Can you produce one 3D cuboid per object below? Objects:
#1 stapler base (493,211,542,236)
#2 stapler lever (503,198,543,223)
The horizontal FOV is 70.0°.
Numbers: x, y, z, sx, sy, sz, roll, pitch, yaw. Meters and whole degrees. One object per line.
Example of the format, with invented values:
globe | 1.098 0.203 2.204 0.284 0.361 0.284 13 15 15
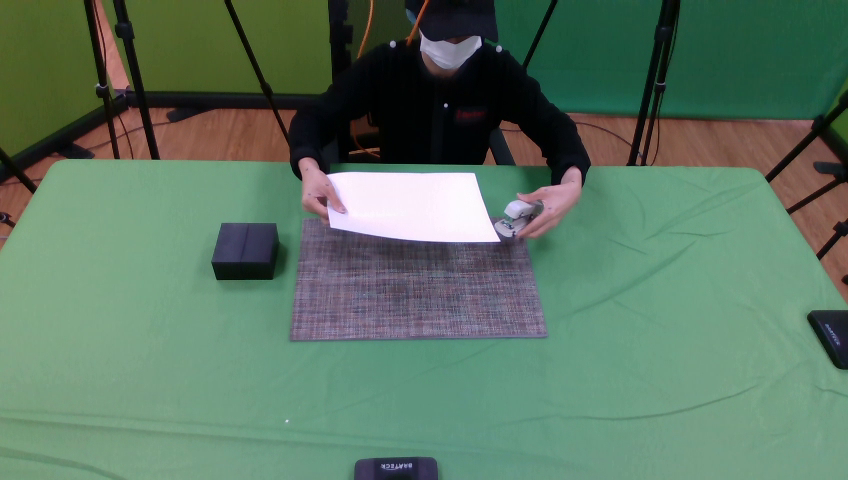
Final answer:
stapler base | 0.182 -0.043 1.162 0.041 0.024 0.130 38 37 24
stapler lever | 0.189 -0.063 1.150 0.026 0.040 0.118 38 37 24
